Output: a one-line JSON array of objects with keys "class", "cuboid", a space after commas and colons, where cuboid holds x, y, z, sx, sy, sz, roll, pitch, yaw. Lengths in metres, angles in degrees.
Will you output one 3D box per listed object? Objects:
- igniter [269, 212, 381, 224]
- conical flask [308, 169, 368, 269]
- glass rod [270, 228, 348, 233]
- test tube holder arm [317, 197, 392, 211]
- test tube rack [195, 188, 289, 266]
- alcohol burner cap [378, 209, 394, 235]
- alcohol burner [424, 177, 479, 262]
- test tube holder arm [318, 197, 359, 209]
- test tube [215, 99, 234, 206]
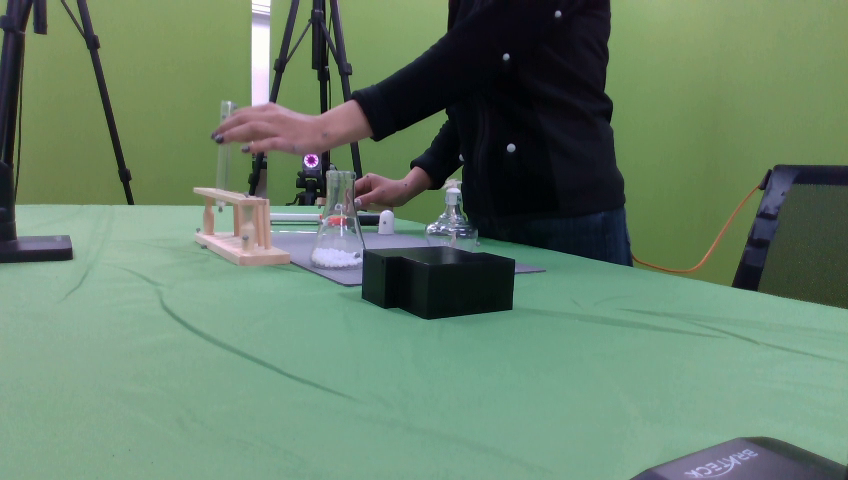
[{"class": "igniter", "cuboid": [-0.214, -0.048, 1.279, 0.278, 0.025, 0.057, -1, -2, -24]}, {"class": "conical flask", "cuboid": [-0.107, -0.028, 0.762, 0.075, 0.122, 0.075, 2, 7, 0]}, {"class": "glass rod", "cuboid": [-0.235, -0.018, 1.104, 0.201, 0.008, 0.008, 1, 7, -26]}, {"class": "test tube holder arm", "cuboid": [-0.133, -0.070, 1.188, 0.179, 0.015, 0.013, 3, 13, -46]}, {"class": "test tube rack", "cuboid": [-0.266, -0.025, 0.864, 0.067, 0.085, 0.241, -2, 8, -33]}, {"class": "alcohol burner cap", "cuboid": [-0.071, -0.034, 1.144, 0.034, 0.048, 0.034, 3, 7, 0]}, {"class": "alcohol burner", "cuboid": [0.040, -0.029, 0.853, 0.078, 0.119, 0.078, 2, 9, 0]}, {"class": "test tube holder arm", "cuboid": [-0.161, -0.070, 1.152, 0.088, 0.015, 0.010, 4, 13, -45]}, {"class": "test tube", "cuboid": [-0.282, -0.122, 0.852, 0.017, 0.150, 0.017, 7, 8, -1]}]
